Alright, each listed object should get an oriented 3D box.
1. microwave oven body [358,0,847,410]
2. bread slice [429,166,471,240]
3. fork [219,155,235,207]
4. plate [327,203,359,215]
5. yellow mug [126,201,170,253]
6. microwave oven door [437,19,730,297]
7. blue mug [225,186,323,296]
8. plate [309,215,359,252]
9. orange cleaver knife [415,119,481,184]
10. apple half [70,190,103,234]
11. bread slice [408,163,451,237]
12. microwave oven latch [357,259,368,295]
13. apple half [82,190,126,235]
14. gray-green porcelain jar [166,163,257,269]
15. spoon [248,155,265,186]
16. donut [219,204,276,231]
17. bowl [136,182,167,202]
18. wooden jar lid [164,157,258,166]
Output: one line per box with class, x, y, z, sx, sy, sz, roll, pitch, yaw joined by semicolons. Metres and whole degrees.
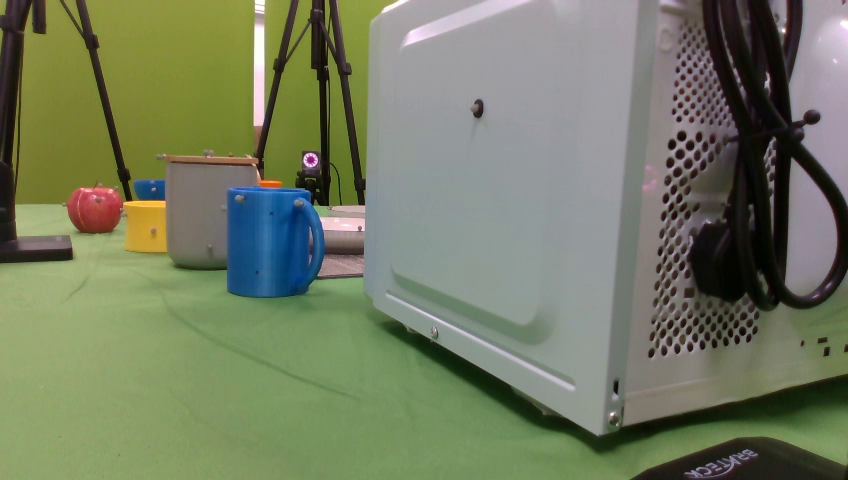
microwave oven body;0.210;-0.051;0.471;0.444;0.260;0.324;-1;7;-28
bread slice;0.048;-0.064;1.063;0.019;0.131;0.105;7;8;39
fork;-0.459;-0.134;1.415;0.028;0.018;0.207;-1;-34;-24
plate;-0.102;-0.053;1.299;0.209;0.038;0.209;2;8;0
yellow mug;-0.361;-0.019;0.866;0.130;0.064;0.100;7;9;27
microwave oven door;0.181;-0.076;0.618;0.358;0.243;0.039;-2;9;-28
blue mug;-0.148;0.000;0.618;0.116;0.106;0.083;7;9;33
plate;-0.130;-0.011;0.945;0.208;0.039;0.207;2;7;0
orange cleaver knife;0.048;-0.146;1.129;0.012;0.077;0.212;8;-20;38
apple half;-0.552;-0.048;1.010;0.053;0.074;0.081;-1;9;26
bread slice;0.011;-0.073;1.101;0.018;0.134;0.107;-1;1;37
microwave oven latch;-0.019;0.031;0.529;0.079;0.029;0.030;-1;7;-27
apple half;-0.516;-0.046;0.994;0.032;0.081;0.081;0;6;26
gray-green porcelain jar;-0.263;-0.031;0.754;0.106;0.126;0.106;2;7;0
spoon;-0.417;-0.150;1.543;0.042;0.193;0.021;-3;-35;-34
donut;-0.316;-0.039;1.083;0.099;0.048;0.099;2;7;0
bowl;-0.497;-0.076;1.221;0.151;0.077;0.151;2;8;0
wooden jar lid;-0.261;-0.093;0.746;0.108;0.020;0.108;0;9;0
